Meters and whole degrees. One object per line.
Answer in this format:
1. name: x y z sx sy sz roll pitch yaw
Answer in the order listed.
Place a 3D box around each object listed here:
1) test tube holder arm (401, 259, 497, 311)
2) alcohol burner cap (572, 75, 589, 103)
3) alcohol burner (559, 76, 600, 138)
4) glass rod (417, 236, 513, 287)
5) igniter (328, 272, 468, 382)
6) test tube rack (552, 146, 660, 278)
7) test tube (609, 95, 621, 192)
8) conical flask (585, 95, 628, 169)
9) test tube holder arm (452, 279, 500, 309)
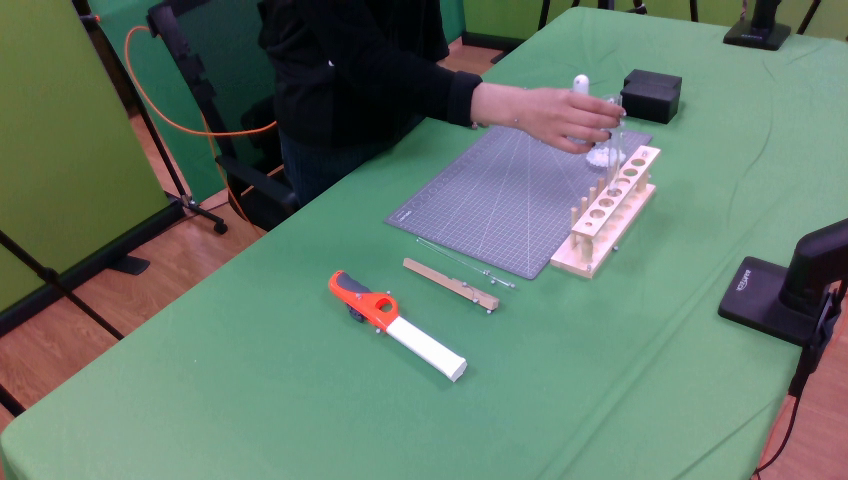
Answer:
1. test tube holder arm: 0.033 0.064 0.902 0.177 0.015 0.013 23 15 33
2. alcohol burner cap: 0.294 -0.284 1.132 0.034 0.048 0.033 -5 46 5
3. alcohol burner: 0.298 -0.257 1.156 0.078 0.119 0.077 -4 39 4
4. glass rod: 0.059 0.032 0.944 0.198 0.008 0.008 27 53 37
5. igniter: -0.048 0.114 0.854 0.274 0.025 0.057 29 63 37
6. test tube rack: 0.287 -0.053 0.943 0.066 0.085 0.243 21 49 32
7. test tube: 0.269 -0.133 0.852 0.017 0.151 0.017 -8 36 6
8. conical flask: 0.324 -0.192 1.066 0.075 0.122 0.075 -6 40 5
9. test tube holder arm: 0.071 0.079 0.882 0.087 0.015 0.010 23 15 34
